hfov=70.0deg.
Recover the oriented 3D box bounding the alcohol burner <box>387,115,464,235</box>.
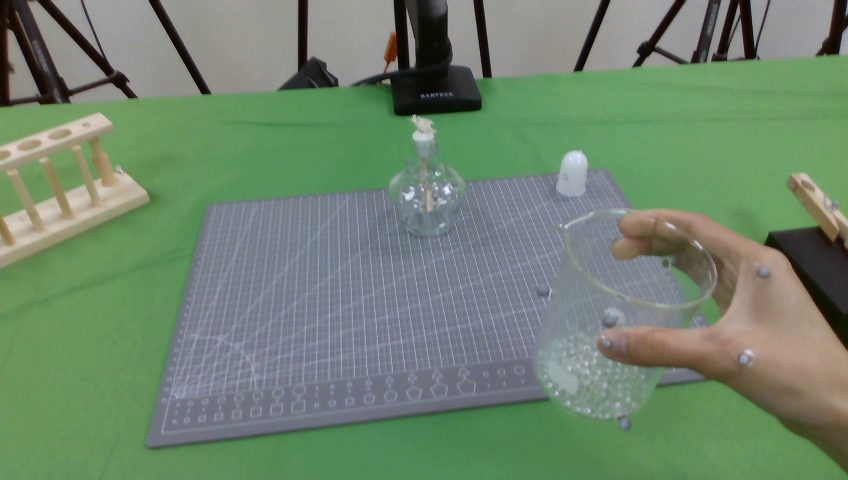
[{"bbox_3d":[0.001,-0.066,0.595,0.078,0.120,0.077,-2,38,2],"label":"alcohol burner"}]

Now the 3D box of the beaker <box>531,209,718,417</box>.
[{"bbox_3d":[0.100,0.042,0.334,0.083,0.101,0.074,29,46,23],"label":"beaker"}]

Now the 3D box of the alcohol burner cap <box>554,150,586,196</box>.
[{"bbox_3d":[0.160,-0.075,0.659,0.034,0.048,0.033,-1,40,1],"label":"alcohol burner cap"}]

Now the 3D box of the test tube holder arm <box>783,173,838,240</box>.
[{"bbox_3d":[0.353,-0.032,0.550,0.010,0.015,0.087,-9,40,3],"label":"test tube holder arm"}]

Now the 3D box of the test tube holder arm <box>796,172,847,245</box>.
[{"bbox_3d":[0.361,-0.004,0.516,0.013,0.015,0.176,-9,39,3],"label":"test tube holder arm"}]

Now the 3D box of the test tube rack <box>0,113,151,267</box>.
[{"bbox_3d":[-0.411,-0.035,0.595,0.242,0.086,0.066,-32,49,-32],"label":"test tube rack"}]
